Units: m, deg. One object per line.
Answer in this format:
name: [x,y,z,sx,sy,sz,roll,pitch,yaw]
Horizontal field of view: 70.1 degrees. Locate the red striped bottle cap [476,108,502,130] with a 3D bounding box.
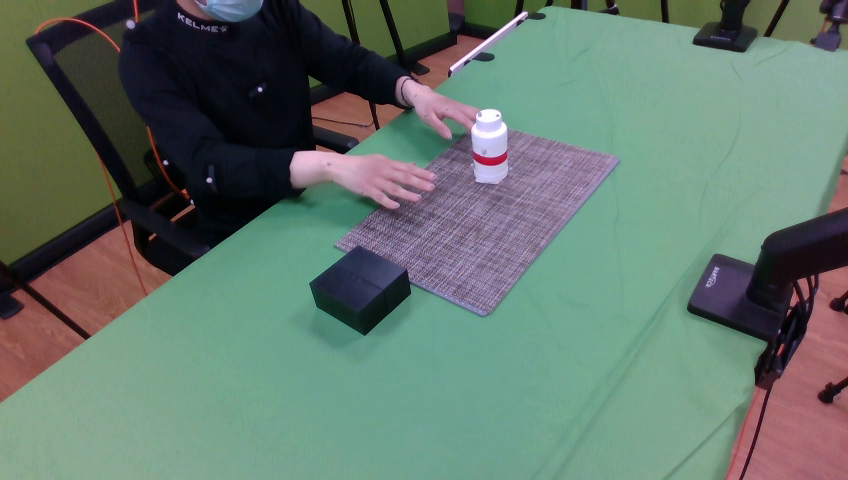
red striped bottle cap: [0.110,-0.206,1.030,0.044,0.018,0.044,-5,44,5]

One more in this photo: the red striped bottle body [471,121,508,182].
red striped bottle body: [0.116,-0.167,1.064,0.063,0.120,0.062,-4,41,4]
